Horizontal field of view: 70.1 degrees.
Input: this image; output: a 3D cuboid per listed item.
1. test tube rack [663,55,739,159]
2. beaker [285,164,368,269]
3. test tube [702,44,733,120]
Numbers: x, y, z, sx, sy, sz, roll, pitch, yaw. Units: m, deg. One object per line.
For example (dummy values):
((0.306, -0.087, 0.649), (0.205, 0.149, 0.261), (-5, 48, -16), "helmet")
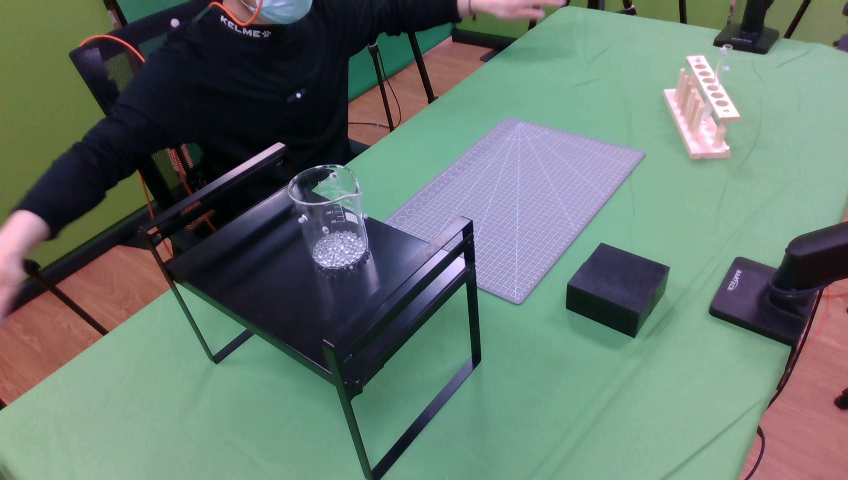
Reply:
((0.517, -0.256, 1.144), (0.066, 0.085, 0.241), (-1, 41, 8), "test tube rack")
((-0.102, -0.024, 0.676), (0.083, 0.101, 0.074), (8, 43, 17), "beaker")
((0.530, -0.282, 1.096), (0.017, 0.151, 0.017), (-2, 45, 3), "test tube")
